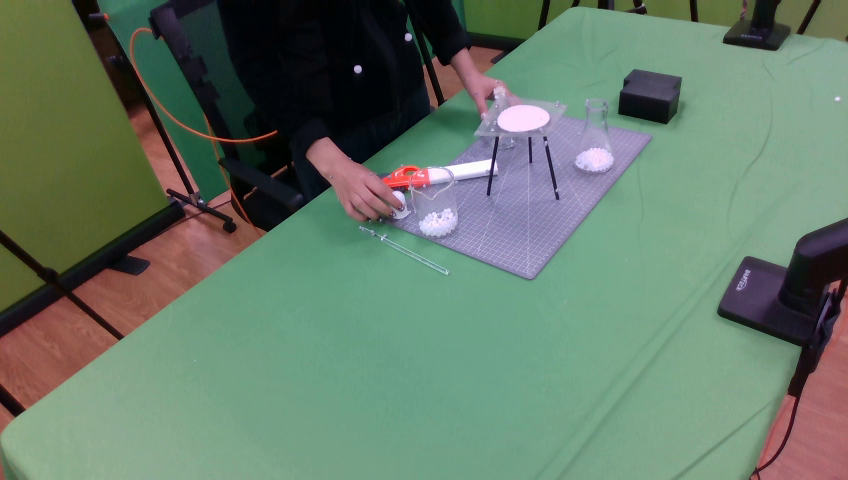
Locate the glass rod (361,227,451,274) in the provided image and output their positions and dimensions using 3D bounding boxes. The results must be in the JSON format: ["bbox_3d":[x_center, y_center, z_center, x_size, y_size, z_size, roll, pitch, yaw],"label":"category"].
[{"bbox_3d":[-0.033,0.015,0.986,0.198,0.008,0.008,26,52,34],"label":"glass rod"}]

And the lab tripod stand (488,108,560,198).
[{"bbox_3d":[0.173,-0.150,1.037,0.148,0.132,0.147,-6,38,6],"label":"lab tripod stand"}]

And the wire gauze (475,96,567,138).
[{"bbox_3d":[0.161,-0.201,0.994,0.121,0.011,0.125,11,43,23],"label":"wire gauze"}]

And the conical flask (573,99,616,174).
[{"bbox_3d":[0.301,-0.184,1.061,0.075,0.122,0.075,-5,40,5],"label":"conical flask"}]

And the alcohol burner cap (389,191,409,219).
[{"bbox_3d":[-0.045,-0.062,1.042,0.034,0.048,0.033,-6,39,5],"label":"alcohol burner cap"}]

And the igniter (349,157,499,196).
[{"bbox_3d":[-0.002,-0.117,1.117,0.276,0.025,0.057,-9,56,2],"label":"igniter"}]

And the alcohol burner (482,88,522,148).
[{"bbox_3d":[0.149,-0.237,1.160,0.078,0.119,0.077,-4,40,4],"label":"alcohol burner"}]

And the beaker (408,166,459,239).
[{"bbox_3d":[0.018,-0.058,0.984,0.074,0.101,0.083,-6,41,6],"label":"beaker"}]
